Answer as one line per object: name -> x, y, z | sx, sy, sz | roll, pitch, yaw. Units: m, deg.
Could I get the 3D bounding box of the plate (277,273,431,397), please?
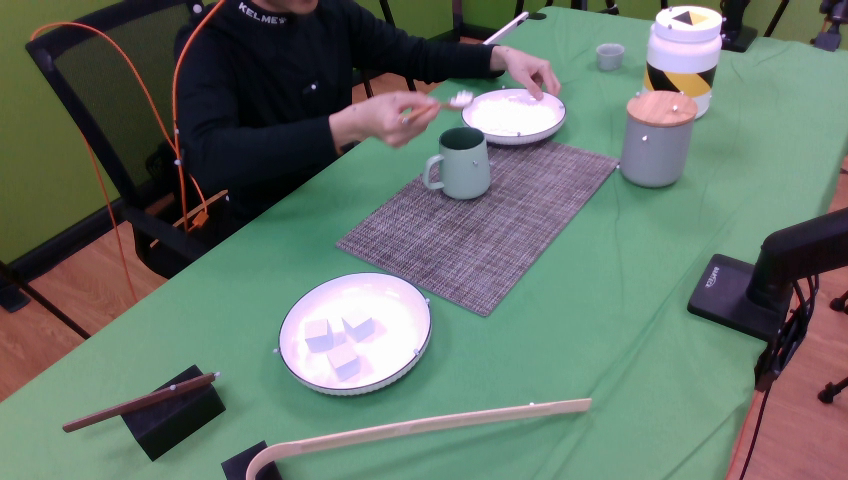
plate -> -0.091, 0.129, 0.821 | 0.207, 0.039, 0.206 | -4, 40, 4

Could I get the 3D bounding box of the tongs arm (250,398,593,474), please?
tongs arm -> 0.008, 0.212, 0.675 | 0.389, 0.028, 0.028 | -5, 46, -11

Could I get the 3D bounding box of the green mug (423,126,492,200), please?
green mug -> 0.055, -0.125, 1.039 | 0.126, 0.105, 0.091 | -25, 45, -18

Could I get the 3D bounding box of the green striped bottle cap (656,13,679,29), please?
green striped bottle cap -> 0.515, -0.463, 1.278 | 0.044, 0.020, 0.044 | -6, 42, 6

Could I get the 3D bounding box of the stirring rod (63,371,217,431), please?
stirring rod -> -0.337, 0.192, 0.723 | 0.177, 0.014, 0.005 | -18, 43, -12

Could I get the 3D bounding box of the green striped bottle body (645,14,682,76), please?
green striped bottle body -> 0.520, -0.424, 1.312 | 0.063, 0.120, 0.063 | -4, 41, 4

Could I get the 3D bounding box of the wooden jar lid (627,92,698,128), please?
wooden jar lid -> 0.384, -0.207, 0.980 | 0.108, 0.021, 0.108 | -6, 39, 5

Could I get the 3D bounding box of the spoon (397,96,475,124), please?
spoon -> 0.018, -0.203, 0.940 | 0.041, 0.021, 0.195 | 16, 26, 33

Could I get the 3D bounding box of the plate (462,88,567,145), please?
plate -> 0.180, -0.244, 1.211 | 0.209, 0.038, 0.208 | -3, 39, 3

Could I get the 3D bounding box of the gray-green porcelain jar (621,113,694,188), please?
gray-green porcelain jar -> 0.390, -0.161, 1.020 | 0.106, 0.127, 0.105 | -4, 41, 4

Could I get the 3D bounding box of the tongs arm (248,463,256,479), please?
tongs arm -> 0.012, 0.262, 0.615 | 0.385, 0.026, 0.050 | 2, 41, -2

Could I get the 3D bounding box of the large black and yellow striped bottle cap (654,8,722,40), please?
large black and yellow striped bottle cap -> 0.483, -0.397, 1.108 | 0.115, 0.019, 0.114 | -3, 41, 3

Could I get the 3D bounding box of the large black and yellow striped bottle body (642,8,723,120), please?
large black and yellow striped bottle body -> 0.493, -0.334, 1.161 | 0.131, 0.185, 0.130 | -4, 41, 4

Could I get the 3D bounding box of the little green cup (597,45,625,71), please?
little green cup -> 0.423, -0.413, 1.375 | 0.061, 0.039, 0.061 | -3, 41, 3
